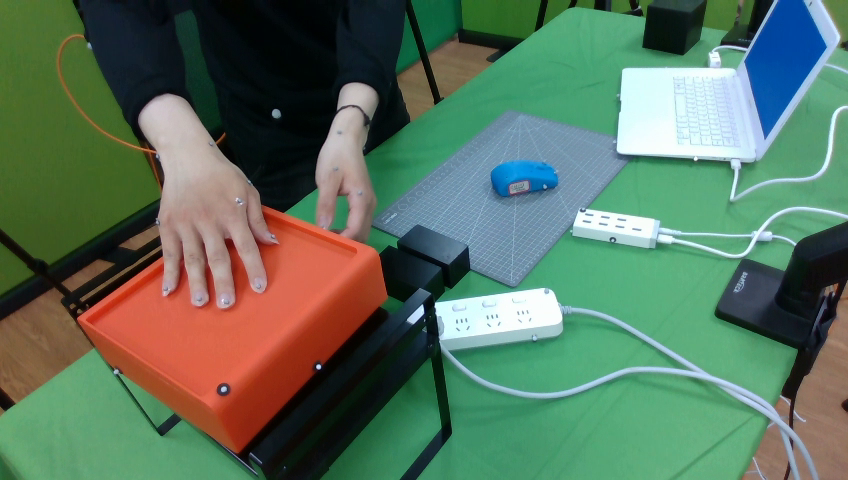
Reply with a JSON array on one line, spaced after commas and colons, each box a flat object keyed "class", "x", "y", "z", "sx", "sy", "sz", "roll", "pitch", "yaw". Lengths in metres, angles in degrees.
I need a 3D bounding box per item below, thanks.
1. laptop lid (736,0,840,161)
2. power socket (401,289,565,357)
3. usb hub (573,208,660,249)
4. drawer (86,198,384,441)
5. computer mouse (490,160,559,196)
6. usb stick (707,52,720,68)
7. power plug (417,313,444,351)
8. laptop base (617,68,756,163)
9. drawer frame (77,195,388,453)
[{"class": "laptop lid", "x": 0.641, "y": -0.327, "z": 1.090, "sx": 0.013, "sy": 0.242, "sz": 0.356, "roll": 16, "pitch": 43, "yaw": 5}, {"class": "power socket", "x": 0.080, "y": 0.112, "z": 0.822, "sx": 0.227, "sy": 0.033, "sz": 0.072, "roll": -7, "pitch": 41, "yaw": -1}, {"class": "usb hub", "x": 0.301, "y": -0.019, "z": 0.949, "sx": 0.124, "sy": 0.025, "sz": 0.049, "roll": 11, "pitch": 43, "yaw": 20}, {"class": "drawer", "x": -0.179, "y": 0.064, "z": 0.600, "sx": 0.193, "sy": 0.073, "sz": 0.212, "roll": 21, "pitch": 48, "yaw": 28}, {"class": "computer mouse", "x": 0.177, "y": -0.114, "z": 1.066, "sx": 0.117, "sy": 0.041, "sz": 0.062, "roll": -8, "pitch": 39, "yaw": -6}, {"class": "usb stick", "x": 0.629, "y": -0.382, "z": 1.313, "sx": 0.021, "sy": 0.027, "sz": 0.059, "roll": 3, "pitch": 46, "yaw": 16}, {"class": "power plug", "x": 0.007, "y": 0.127, "z": 0.786, "sx": 0.035, "sy": 0.053, "sz": 0.072, "roll": 1, "pitch": 43, "yaw": 9}, {"class": "laptop base", "x": 0.509, "y": -0.255, "z": 1.201, "sx": 0.234, "sy": 0.023, "sz": 0.353, "roll": 4, "pitch": 41, "yaw": 16}, {"class": "drawer frame", "x": -0.179, "y": 0.066, "z": 0.597, "sx": 0.200, "sy": 0.083, "sz": 0.214, "roll": 20, "pitch": 48, "yaw": 28}]
